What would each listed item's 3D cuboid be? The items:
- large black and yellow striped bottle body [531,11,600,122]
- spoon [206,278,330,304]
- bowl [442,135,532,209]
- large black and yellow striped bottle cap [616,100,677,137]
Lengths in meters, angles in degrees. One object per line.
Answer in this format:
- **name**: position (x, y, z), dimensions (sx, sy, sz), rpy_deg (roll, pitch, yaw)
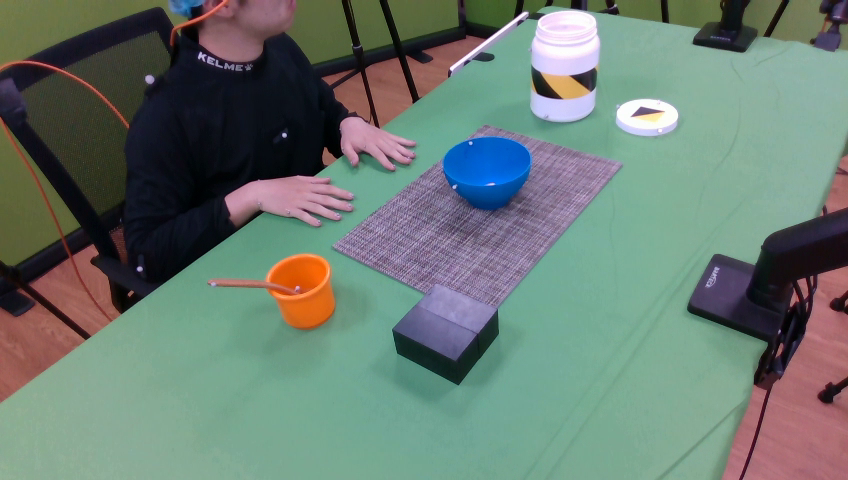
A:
- **large black and yellow striped bottle body**: position (0.279, -0.344, 1.202), dimensions (0.131, 0.185, 0.130), rpy_deg (-4, 41, 4)
- **spoon**: position (-0.207, 0.066, 0.824), dimensions (0.041, 0.195, 0.021), rpy_deg (34, 100, 41)
- **bowl**: position (0.108, -0.106, 1.026), dimensions (0.151, 0.077, 0.150), rpy_deg (-4, 41, 4)
- **large black and yellow striped bottle cap**: position (0.438, -0.241, 1.190), dimensions (0.115, 0.019, 0.114), rpy_deg (-4, 42, 4)
